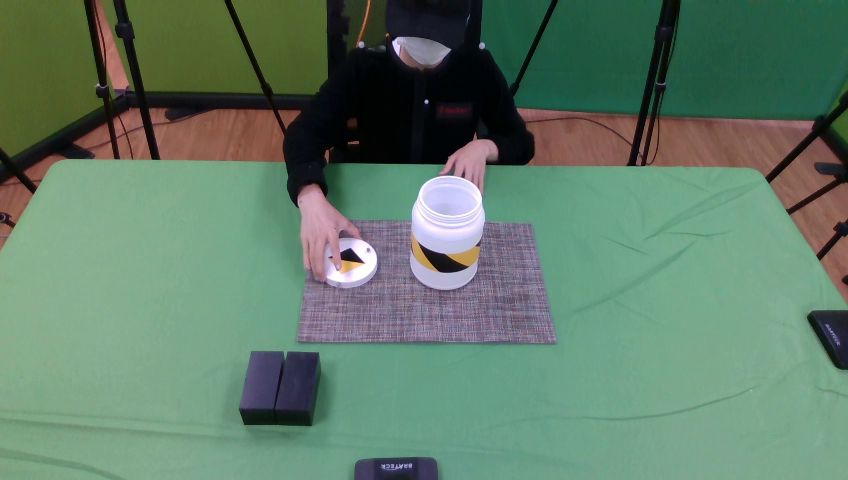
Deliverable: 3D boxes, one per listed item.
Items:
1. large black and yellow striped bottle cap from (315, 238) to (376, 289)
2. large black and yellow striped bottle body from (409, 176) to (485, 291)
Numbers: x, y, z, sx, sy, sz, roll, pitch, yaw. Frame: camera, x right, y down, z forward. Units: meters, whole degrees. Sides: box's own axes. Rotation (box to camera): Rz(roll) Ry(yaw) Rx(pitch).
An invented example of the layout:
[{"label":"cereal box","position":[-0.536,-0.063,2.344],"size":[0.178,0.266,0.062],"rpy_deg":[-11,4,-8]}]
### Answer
[{"label":"large black and yellow striped bottle cap","position":[-0.148,0.042,1.144],"size":[0.115,0.019,0.114],"rpy_deg":[2,48,-2]},{"label":"large black and yellow striped bottle body","position":[0.040,-0.012,1.095],"size":[0.131,0.185,0.130],"rpy_deg":[2,46,-2]}]
